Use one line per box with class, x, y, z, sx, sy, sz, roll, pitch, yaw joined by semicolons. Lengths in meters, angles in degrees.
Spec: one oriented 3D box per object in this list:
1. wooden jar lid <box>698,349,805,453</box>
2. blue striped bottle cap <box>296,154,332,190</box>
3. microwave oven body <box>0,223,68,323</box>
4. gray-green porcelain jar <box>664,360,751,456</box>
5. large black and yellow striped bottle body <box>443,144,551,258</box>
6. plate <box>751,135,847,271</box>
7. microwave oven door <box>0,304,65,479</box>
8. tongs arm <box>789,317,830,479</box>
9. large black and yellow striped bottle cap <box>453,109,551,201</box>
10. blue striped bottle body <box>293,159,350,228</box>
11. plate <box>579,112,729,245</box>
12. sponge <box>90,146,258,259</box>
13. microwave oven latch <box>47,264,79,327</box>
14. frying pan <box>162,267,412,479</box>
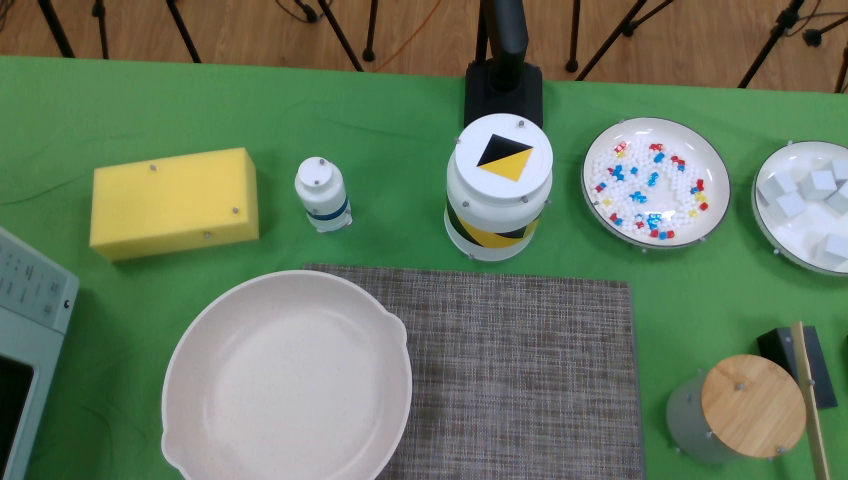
wooden jar lid;0.349;0.172;0.651;0.108;0.021;0.107;-1;70;4
blue striped bottle cap;-0.140;-0.087;0.770;0.044;0.021;0.044;1;68;-2
microwave oven body;-0.635;0.189;0.634;0.326;0.262;0.438;3;69;1
gray-green porcelain jar;0.349;0.197;0.709;0.106;0.127;0.105;0;68;0
large black and yellow striped bottle body;0.091;-0.067;0.784;0.131;0.185;0.130;0;67;0
plate;0.564;-0.050;0.855;0.208;0.039;0.206;0;68;1
microwave oven door;-0.492;0.235;0.611;0.039;0.245;0.353;3;68;2
tongs arm;0.476;0.279;0.694;0.051;0.026;0.383;-1;78;-2
large black and yellow striped bottle cap;0.091;-0.100;0.707;0.115;0.019;0.114;0;69;0
blue striped bottle body;-0.139;-0.067;0.817;0.063;0.121;0.062;0;68;0
plate;0.325;-0.087;0.870;0.209;0.038;0.207;0;68;1
sponge;-0.344;-0.052;0.843;0.207;0.061;0.117;-10;68;-5
microwave oven latch;-0.475;0.071;0.786;0.030;0.030;0.078;6;69;2
frying pan;-0.111;0.257;0.693;0.307;0.103;0.483;-26;62;-9
